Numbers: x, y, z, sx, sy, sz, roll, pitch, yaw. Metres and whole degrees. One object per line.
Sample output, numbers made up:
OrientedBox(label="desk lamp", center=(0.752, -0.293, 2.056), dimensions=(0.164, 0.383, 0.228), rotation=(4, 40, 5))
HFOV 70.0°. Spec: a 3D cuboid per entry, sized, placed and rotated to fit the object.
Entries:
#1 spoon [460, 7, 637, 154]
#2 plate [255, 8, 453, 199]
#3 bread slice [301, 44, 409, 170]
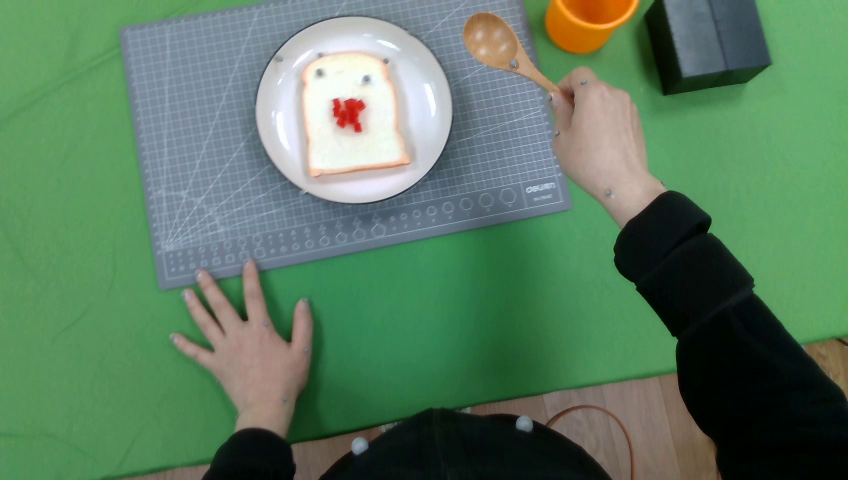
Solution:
OrientedBox(label="spoon", center=(0.110, -0.138, 0.535), dimensions=(0.193, 0.022, 0.041), rotation=(42, 94, 9))
OrientedBox(label="plate", center=(-0.072, -0.143, 0.649), dimensions=(0.209, 0.038, 0.208), rotation=(0, 83, -2))
OrientedBox(label="bread slice", center=(-0.081, -0.143, 0.650), dimensions=(0.107, 0.018, 0.134), rotation=(-11, 83, -5))
